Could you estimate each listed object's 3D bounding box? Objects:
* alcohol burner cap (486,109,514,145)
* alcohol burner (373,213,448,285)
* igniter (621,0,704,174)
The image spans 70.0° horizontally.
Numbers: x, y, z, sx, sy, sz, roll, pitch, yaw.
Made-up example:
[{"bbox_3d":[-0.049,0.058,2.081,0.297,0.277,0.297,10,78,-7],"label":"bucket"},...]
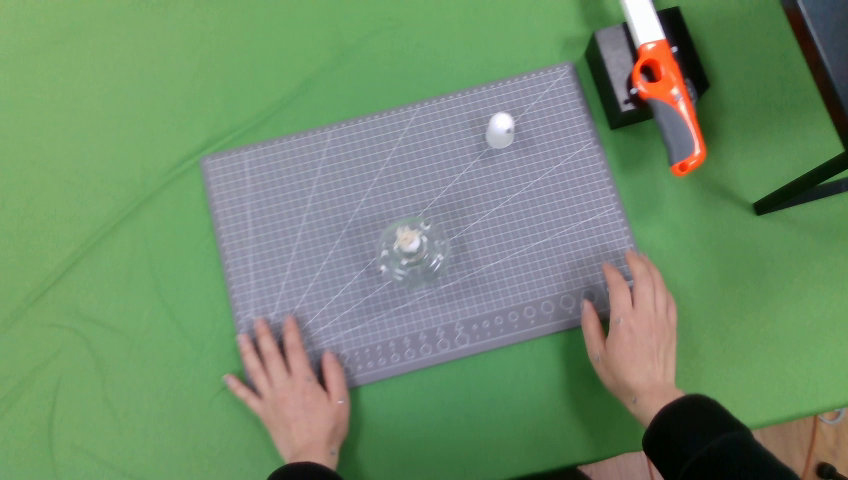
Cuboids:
[{"bbox_3d":[0.086,-0.129,0.677,0.034,0.048,0.033,0,79,3],"label":"alcohol burner cap"},{"bbox_3d":[-0.015,0.006,0.618,0.078,0.119,0.077,0,80,3],"label":"alcohol burner"},{"bbox_3d":[0.245,-0.201,0.650,0.057,0.025,0.275,-12,77,0],"label":"igniter"}]
